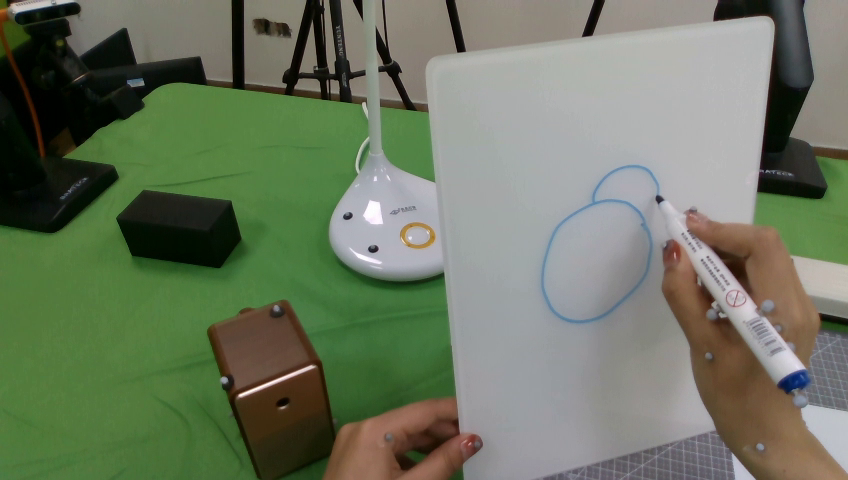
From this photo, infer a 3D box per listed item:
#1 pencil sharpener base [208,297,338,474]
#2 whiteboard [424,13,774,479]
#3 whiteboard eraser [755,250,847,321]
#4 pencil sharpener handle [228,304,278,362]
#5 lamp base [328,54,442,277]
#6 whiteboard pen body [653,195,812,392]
[{"bbox_3d":[-0.110,0.106,0.445,0.061,0.108,0.076,-20,44,-21],"label":"pencil sharpener base"},{"bbox_3d":[0.105,0.003,0.454,0.217,0.307,0.142,-10,22,-10],"label":"whiteboard"},{"bbox_3d":[0.371,0.046,0.562,0.112,0.042,0.055,10,39,14],"label":"whiteboard eraser"},{"bbox_3d":[-0.132,0.067,0.472,0.036,0.068,0.030,-26,46,-15],"label":"pencil sharpener handle"},{"bbox_3d":[-0.030,-0.082,0.609,0.161,0.182,0.177,-23,43,-24],"label":"lamp base"},{"bbox_3d":[0.162,0.021,0.335,0.017,0.017,0.139,-10,48,-11],"label":"whiteboard pen body"}]
